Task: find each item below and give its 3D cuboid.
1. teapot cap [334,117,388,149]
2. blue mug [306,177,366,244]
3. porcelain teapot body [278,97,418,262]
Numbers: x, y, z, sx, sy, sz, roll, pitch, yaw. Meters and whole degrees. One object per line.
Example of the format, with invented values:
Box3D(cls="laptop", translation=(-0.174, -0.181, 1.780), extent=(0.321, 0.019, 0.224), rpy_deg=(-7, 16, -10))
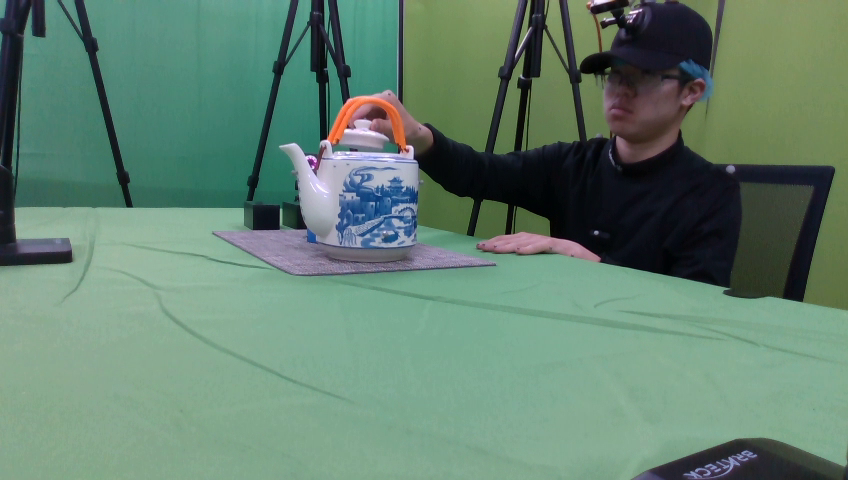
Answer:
Box3D(cls="teapot cap", translation=(-0.097, -0.166, 0.930), extent=(0.085, 0.044, 0.085), rpy_deg=(6, 4, 0))
Box3D(cls="blue mug", translation=(-0.144, -0.052, 1.027), extent=(0.082, 0.106, 0.117), rpy_deg=(9, 10, 41))
Box3D(cls="porcelain teapot body", translation=(-0.104, -0.086, 0.842), extent=(0.206, 0.225, 0.144), rpy_deg=(-4, 10, -38))
